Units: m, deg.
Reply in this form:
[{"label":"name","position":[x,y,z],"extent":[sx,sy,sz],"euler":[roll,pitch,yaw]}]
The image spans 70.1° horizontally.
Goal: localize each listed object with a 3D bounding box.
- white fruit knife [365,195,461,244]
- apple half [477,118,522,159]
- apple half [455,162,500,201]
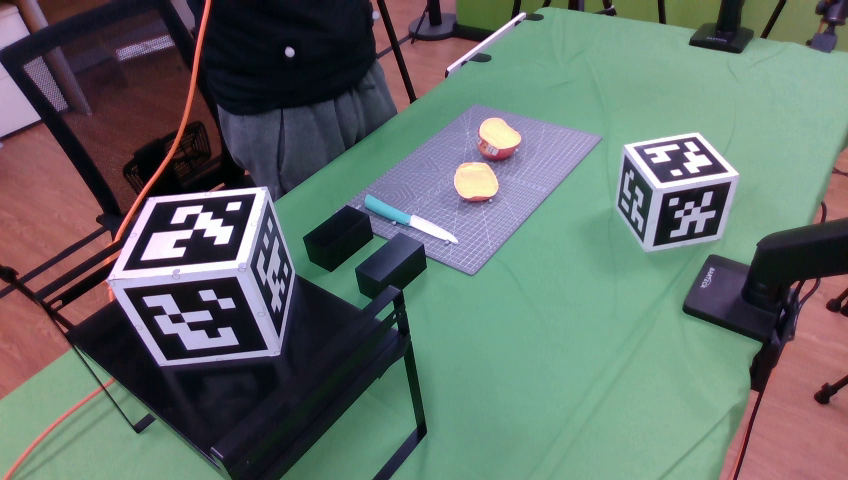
[{"label":"white fruit knife","position":[-0.023,-0.033,1.012],"extent":[0.206,0.016,0.027],"euler":[24,62,30]},{"label":"apple half","position":[0.136,-0.182,1.133],"extent":[0.080,0.053,0.075],"euler":[40,52,15]},{"label":"apple half","position":[0.090,-0.097,1.051],"extent":[0.081,0.033,0.081],"euler":[2,64,-3]}]
